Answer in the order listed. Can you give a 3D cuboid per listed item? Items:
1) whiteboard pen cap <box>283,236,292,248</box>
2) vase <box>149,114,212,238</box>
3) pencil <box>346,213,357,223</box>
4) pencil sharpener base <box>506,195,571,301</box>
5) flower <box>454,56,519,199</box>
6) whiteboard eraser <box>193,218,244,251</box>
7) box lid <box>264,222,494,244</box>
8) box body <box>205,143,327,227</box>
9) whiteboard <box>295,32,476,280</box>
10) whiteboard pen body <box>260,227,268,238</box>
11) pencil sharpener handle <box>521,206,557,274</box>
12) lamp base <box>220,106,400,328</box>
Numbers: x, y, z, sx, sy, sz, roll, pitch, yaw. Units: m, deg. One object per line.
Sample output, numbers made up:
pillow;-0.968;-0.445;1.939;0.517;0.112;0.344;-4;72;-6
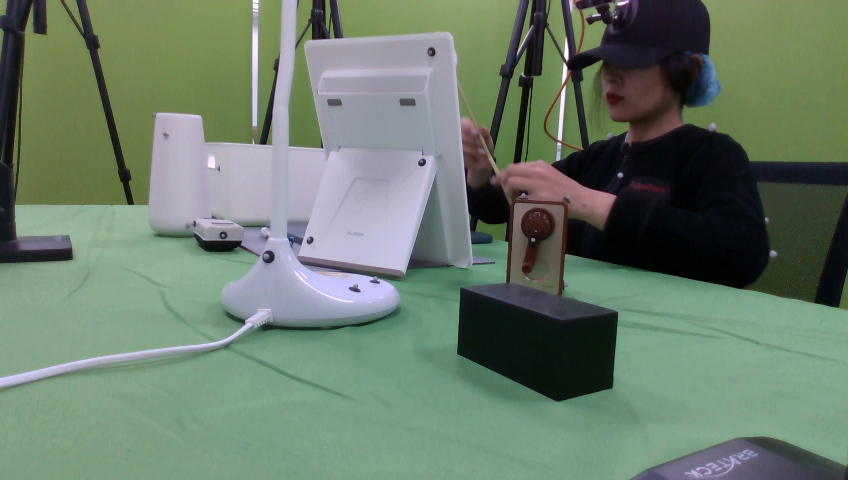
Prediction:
whiteboard pen cap;-0.211;0.003;0.913;0.018;0.018;0.033;-2;6;-28
vase;-0.405;-0.106;1.005;0.098;0.200;0.098;2;6;0
pencil;-0.161;-0.052;1.364;0.012;0.012;0.194;2;6;-2
pencil sharpener base;0.126;0.007;0.662;0.061;0.107;0.077;4;8;13
flower;0.098;-0.167;0.980;0.038;0.361;0.044;-28;-6;14
whiteboard eraser;-0.307;-0.009;0.900;0.056;0.042;0.112;-4;10;-28
box lid;-0.081;-0.014;1.117;0.373;0.015;0.262;-2;9;-32
box body;-0.276;-0.122;1.320;0.366;0.160;0.253;-2;9;-30
whiteboard;-0.076;-0.084;0.747;0.216;0.305;0.144;7;28;29
whiteboard pen body;-0.239;-0.005;0.964;0.017;0.017;0.140;-2;9;-28
pencil sharpener handle;0.112;0.000;0.611;0.036;0.067;0.031;13;10;11
lamp base;-0.101;-0.023;0.531;0.160;0.180;0.179;4;10;10
